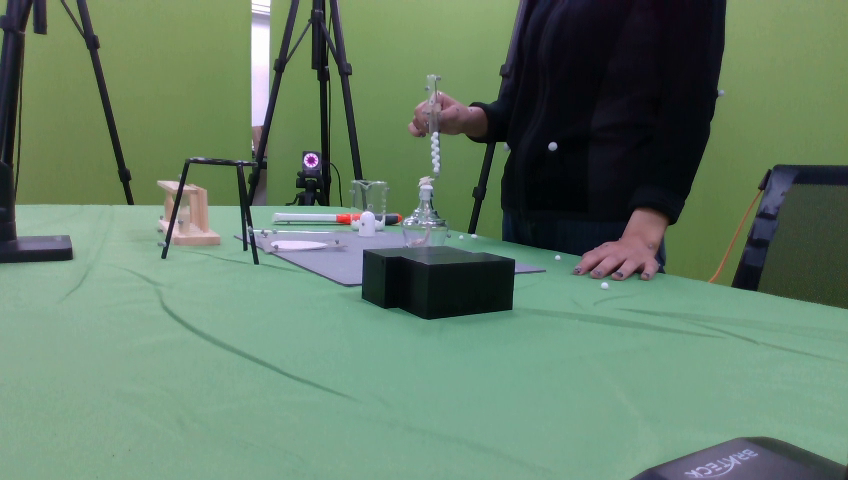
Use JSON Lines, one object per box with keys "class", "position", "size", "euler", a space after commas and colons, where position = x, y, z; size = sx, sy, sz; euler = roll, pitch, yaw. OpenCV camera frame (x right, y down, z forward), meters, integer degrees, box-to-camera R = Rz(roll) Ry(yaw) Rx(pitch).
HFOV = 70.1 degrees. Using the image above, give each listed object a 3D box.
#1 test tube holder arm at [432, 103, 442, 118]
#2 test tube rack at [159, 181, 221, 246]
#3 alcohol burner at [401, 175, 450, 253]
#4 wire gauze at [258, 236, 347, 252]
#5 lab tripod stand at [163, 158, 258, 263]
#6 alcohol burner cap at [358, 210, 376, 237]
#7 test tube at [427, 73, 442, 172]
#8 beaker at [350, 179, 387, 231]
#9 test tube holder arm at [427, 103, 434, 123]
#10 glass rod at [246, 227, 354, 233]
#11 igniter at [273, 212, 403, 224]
{"class": "test tube holder arm", "position": [0.018, -0.204, 0.954], "size": [0.010, 0.015, 0.087], "euler": [2, 5, -7]}
{"class": "test tube rack", "position": [-0.395, -0.050, 1.010], "size": [0.067, 0.085, 0.241], "euler": [-2, 8, -28]}
{"class": "alcohol burner", "position": [0.003, -0.040, 0.933], "size": [0.078, 0.119, 0.078], "euler": [2, 9, 0]}
{"class": "wire gauze", "position": [-0.189, 0.005, 0.931], "size": [0.122, 0.011, 0.124], "euler": [1, 7, -21]}
{"class": "lab tripod stand", "position": [-0.265, -0.041, 0.802], "size": [0.148, 0.131, 0.148], "euler": [4, 7, 0]}
{"class": "alcohol burner cap", "position": [-0.104, -0.030, 1.098], "size": [0.034, 0.048, 0.034], "euler": [3, 7, 0]}
{"class": "test tube", "position": [0.016, -0.181, 0.932], "size": [0.017, 0.150, 0.017], "euler": [-4, 3, 1]}
{"class": "beaker", "position": [-0.111, -0.069, 1.204], "size": [0.074, 0.100, 0.084], "euler": [2, 8, 0]}
{"class": "test tube holder arm", "position": [0.011, -0.208, 0.999], "size": [0.013, 0.015, 0.178], "euler": [3, 5, 0]}
{"class": "glass rod", "position": [-0.224, -0.017, 1.109], "size": [0.201, 0.008, 0.008], "euler": [1, 7, -27]}
{"class": "igniter", "position": [-0.179, -0.048, 1.290], "size": [0.278, 0.025, 0.057], "euler": [-1, -2, -24]}
